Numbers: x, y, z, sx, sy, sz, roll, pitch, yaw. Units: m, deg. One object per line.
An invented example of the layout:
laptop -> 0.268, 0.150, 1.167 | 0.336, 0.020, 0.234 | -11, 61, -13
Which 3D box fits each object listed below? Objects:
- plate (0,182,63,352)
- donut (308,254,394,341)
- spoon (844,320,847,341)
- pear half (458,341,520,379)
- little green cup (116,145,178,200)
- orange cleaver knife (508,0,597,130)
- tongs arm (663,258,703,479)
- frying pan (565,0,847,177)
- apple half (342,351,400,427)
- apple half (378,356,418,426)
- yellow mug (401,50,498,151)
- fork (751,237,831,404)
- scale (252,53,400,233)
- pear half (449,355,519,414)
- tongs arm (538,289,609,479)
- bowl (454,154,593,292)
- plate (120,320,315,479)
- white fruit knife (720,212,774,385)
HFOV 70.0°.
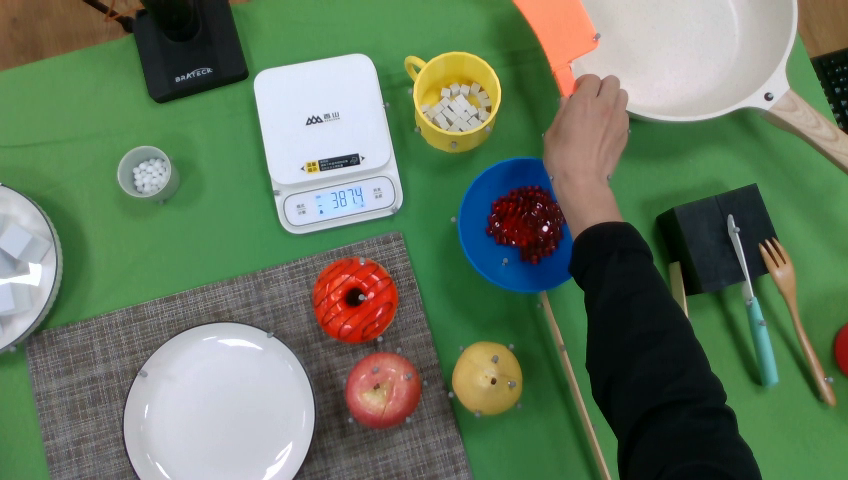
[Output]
plate -> -0.512, 0.034, 0.690 | 0.208, 0.039, 0.207 | 0, 81, -1
donut -> -0.083, 0.065, 0.683 | 0.099, 0.048, 0.098 | 0, 82, 1
spoon -> 0.522, 0.150, 0.631 | 0.041, 0.022, 0.191 | -22, 38, -3
pear half -> 0.073, 0.126, 0.657 | 0.070, 0.088, 0.031 | 14, 81, 5
little green cup -> -0.321, -0.076, 0.709 | 0.061, 0.039, 0.061 | 0, 81, 0
orange cleaver knife -> 0.154, -0.228, 0.686 | 0.077, 0.012, 0.210 | -22, 81, -1
tongs arm -> 0.290, 0.213, 0.681 | 0.028, 0.028, 0.386 | 0, 81, -9
frying pan -> 0.353, -0.200, 0.703 | 0.306, 0.103, 0.485 | -43, 76, -5
apple half -> -0.060, 0.156, 0.655 | 0.053, 0.075, 0.080 | 17, 84, 6
apple half -> -0.023, 0.166, 0.653 | 0.033, 0.081, 0.081 | 17, 81, 5
yellow mug -> 0.022, -0.172, 0.714 | 0.130, 0.064, 0.100 | 41, 83, 6
fork -> 0.416, 0.092, 0.680 | 0.028, 0.018, 0.208 | -26, 98, -7
scale -> -0.117, -0.117, 0.721 | 0.149, 0.031, 0.200 | -12, 82, -2
pear half -> 0.062, 0.158, 0.642 | 0.076, 0.110, 0.056 | 16, 81, 6
tongs arm -> 0.206, 0.228, 0.672 | 0.051, 0.026, 0.383 | -15, 83, -8
bowl -> 0.107, -0.013, 0.685 | 0.151, 0.077, 0.151 | 0, 82, -1
plate -> -0.221, 0.192, 0.665 | 0.209, 0.038, 0.208 | 0, 81, -1
white fruit knife -> 0.358, 0.068, 0.675 | 0.016, 0.027, 0.208 | -18, 97, -3
